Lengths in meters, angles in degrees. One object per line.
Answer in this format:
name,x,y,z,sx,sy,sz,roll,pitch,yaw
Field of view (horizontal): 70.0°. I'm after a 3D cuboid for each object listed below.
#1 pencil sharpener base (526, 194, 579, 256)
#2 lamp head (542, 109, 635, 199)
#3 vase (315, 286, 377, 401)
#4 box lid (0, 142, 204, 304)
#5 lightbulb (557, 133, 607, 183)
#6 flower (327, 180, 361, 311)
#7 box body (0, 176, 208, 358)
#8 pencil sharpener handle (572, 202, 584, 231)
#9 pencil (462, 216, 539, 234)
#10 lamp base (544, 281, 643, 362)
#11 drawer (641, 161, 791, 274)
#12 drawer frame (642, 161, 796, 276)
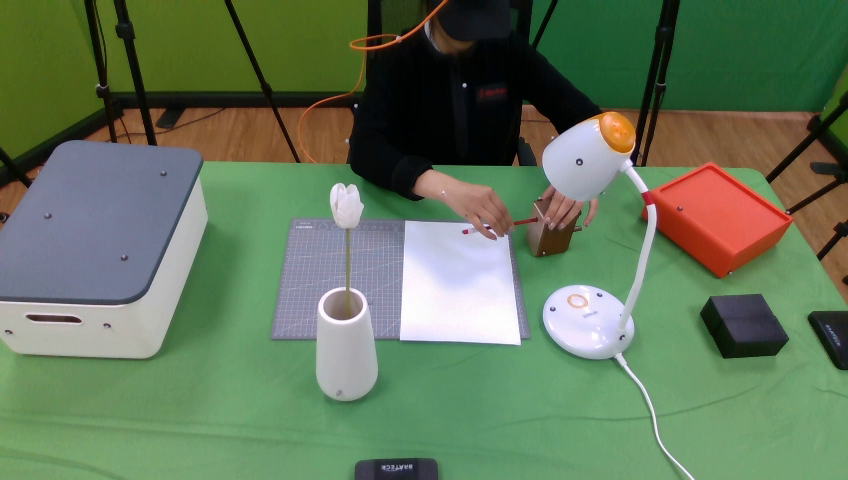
pencil sharpener base,0.251,-0.028,1.181,0.077,0.107,0.061,-11,47,-13
lamp head,0.253,-0.131,0.893,0.113,0.123,0.112,10,66,-24
vase,-0.119,0.159,0.911,0.098,0.201,0.097,2,47,-2
box lid,-0.534,-0.044,0.994,0.263,0.015,0.369,3,45,-3
lightbulb,0.243,-0.127,0.916,0.059,0.108,0.059,5,67,-13
flower,-0.110,0.086,0.867,0.044,0.363,0.038,22,33,35
box body,-0.546,0.017,1.045,0.254,0.161,0.361,2,46,-2
pencil sharpener handle,0.301,-0.045,1.183,0.031,0.068,0.035,-11,40,-13
pencil,0.166,-0.033,1.144,0.194,0.012,0.012,-11,48,-9
lamp base,0.303,0.095,1.014,0.161,0.181,0.178,-24,54,-24
drawer,0.596,-0.051,1.246,0.194,0.073,0.210,-23,53,-25
drawer frame,0.599,-0.051,1.244,0.202,0.083,0.212,-24,52,-25
